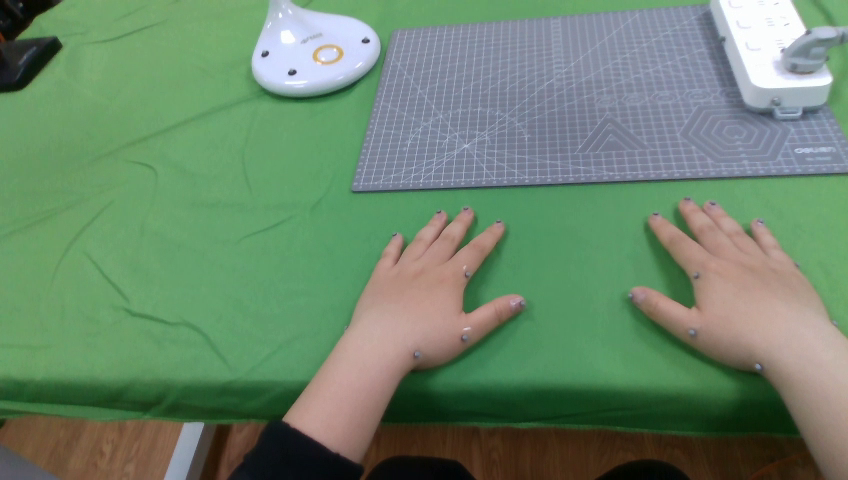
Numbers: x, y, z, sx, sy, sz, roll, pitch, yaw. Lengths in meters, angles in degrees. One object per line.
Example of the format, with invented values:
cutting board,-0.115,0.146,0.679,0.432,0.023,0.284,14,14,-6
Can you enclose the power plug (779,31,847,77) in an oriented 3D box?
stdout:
power plug,0.366,-0.162,0.553,0.072,0.053,0.035,9,50,17

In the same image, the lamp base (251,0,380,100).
lamp base,-0.154,-0.280,0.696,0.160,0.182,0.177,-39,50,-23

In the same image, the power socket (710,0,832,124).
power socket,0.350,-0.201,0.624,0.072,0.033,0.224,1,48,10
